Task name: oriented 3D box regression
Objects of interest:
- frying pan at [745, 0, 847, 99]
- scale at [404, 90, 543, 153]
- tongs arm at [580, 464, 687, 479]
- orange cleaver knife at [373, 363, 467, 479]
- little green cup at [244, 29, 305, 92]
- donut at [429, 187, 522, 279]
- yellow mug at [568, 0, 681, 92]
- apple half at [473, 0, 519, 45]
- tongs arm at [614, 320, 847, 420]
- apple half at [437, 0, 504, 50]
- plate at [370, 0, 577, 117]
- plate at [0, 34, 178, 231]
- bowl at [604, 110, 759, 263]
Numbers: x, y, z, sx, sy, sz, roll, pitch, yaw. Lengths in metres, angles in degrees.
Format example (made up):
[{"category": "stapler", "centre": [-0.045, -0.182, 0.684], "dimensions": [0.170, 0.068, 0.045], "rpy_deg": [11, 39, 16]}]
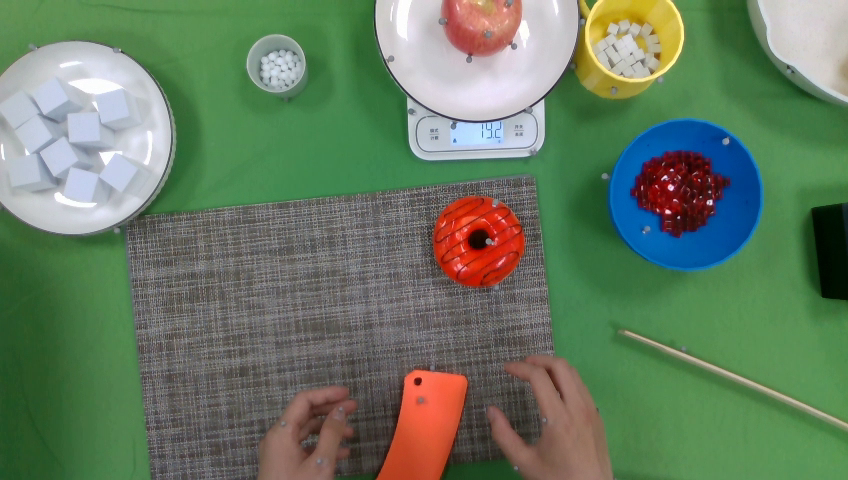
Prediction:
[{"category": "frying pan", "centre": [0.527, -0.195, 0.617], "dimensions": [0.307, 0.103, 0.486], "rpy_deg": [-33, 82, 1]}, {"category": "scale", "centre": [0.051, -0.197, 0.653], "dimensions": [0.149, 0.031, 0.200], "rpy_deg": [-2, 90, 0]}, {"category": "tongs arm", "centre": [0.362, 0.252, 0.646], "dimensions": [0.385, 0.026, 0.050], "rpy_deg": [9, 85, 0]}, {"category": "orange cleaver knife", "centre": [-0.017, 0.229, 0.649], "dimensions": [0.077, 0.012, 0.211], "rpy_deg": [23, 87, -6]}, {"category": "little green cup", "centre": [-0.157, -0.189, 0.649], "dimensions": [0.061, 0.038, 0.061], "rpy_deg": [0, 89, 1]}, {"category": "donut", "centre": [0.054, -0.008, 0.640], "dimensions": [0.099, 0.048, 0.099], "rpy_deg": [0, 90, 2]}, {"category": "yellow mug", "centre": [0.198, -0.226, 0.636], "dimensions": [0.100, 0.064, 0.131], "rpy_deg": [-39, 88, 0]}, {"category": "apple half", "centre": [0.061, -0.237, 0.594], "dimensions": [0.080, 0.075, 0.053], "rpy_deg": [39, 86, 3]}, {"category": "tongs arm", "centre": [0.383, 0.169, 0.651], "dimensions": [0.387, 0.028, 0.028], "rpy_deg": [24, 81, 0]}, {"category": "apple half", "centre": [0.038, -0.207, 0.593], "dimensions": [0.081, 0.081, 0.033], "rpy_deg": [39, 86, 1]}, {"category": "plate", "centre": [0.050, -0.228, 0.620], "dimensions": [0.209, 0.038, 0.209], "rpy_deg": [0, 89, -1]}, {"category": "plate", "centre": [-0.364, -0.112, 0.648], "dimensions": [0.208, 0.039, 0.207], "rpy_deg": [0, 89, 0]}, {"category": "bowl", "centre": [0.253, -0.052, 0.628], "dimensions": [0.151, 0.077, 0.151], "rpy_deg": [0, 90, 0]}]
